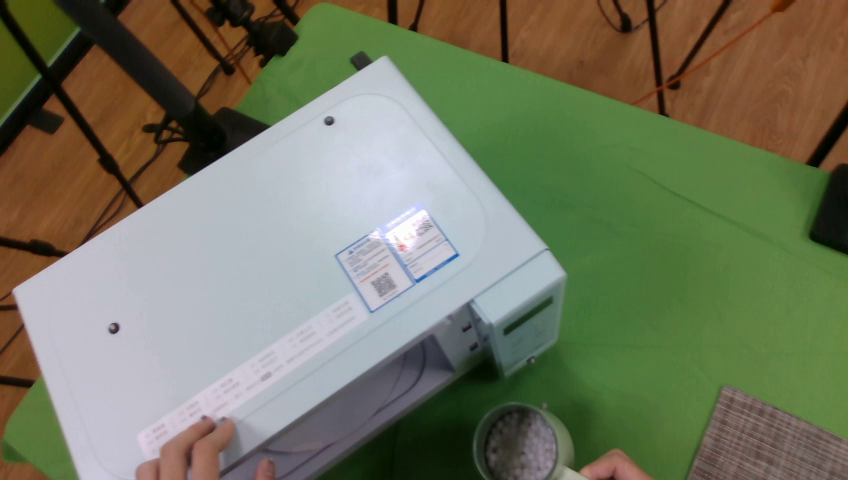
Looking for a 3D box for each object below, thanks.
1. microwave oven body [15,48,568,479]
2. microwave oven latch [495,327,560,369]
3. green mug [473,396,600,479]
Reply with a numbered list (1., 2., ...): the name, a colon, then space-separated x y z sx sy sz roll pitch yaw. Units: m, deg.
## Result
1. microwave oven body: -0.122 0.068 0.660 0.442 0.262 0.323 -34 67 -4
2. microwave oven latch: 0.120 0.117 0.705 0.079 0.030 0.030 -32 66 -4
3. green mug: 0.110 0.206 0.586 0.124 0.106 0.092 24 77 24
